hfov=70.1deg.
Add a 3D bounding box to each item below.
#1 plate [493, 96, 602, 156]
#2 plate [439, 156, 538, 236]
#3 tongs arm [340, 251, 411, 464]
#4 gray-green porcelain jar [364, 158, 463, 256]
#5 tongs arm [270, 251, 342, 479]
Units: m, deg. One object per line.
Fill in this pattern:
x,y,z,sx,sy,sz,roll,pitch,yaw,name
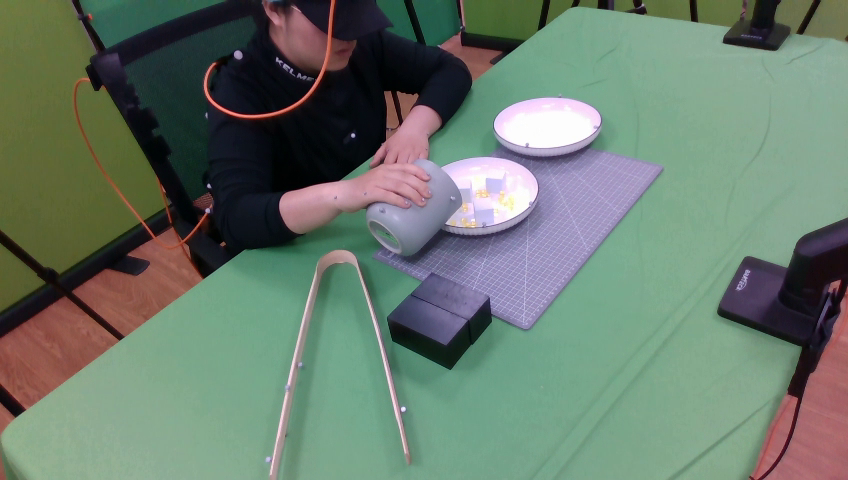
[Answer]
0.239,-0.218,1.180,0.209,0.038,0.208,-5,39,4,plate
0.090,-0.072,1.034,0.207,0.039,0.206,-5,40,5,plate
-0.070,0.136,0.830,0.028,0.028,0.384,-18,40,-6,tongs arm
-0.020,-0.047,0.927,0.105,0.106,0.126,27,63,35,gray-green porcelain jar
-0.152,0.148,0.826,0.051,0.026,0.382,-6,39,3,tongs arm
